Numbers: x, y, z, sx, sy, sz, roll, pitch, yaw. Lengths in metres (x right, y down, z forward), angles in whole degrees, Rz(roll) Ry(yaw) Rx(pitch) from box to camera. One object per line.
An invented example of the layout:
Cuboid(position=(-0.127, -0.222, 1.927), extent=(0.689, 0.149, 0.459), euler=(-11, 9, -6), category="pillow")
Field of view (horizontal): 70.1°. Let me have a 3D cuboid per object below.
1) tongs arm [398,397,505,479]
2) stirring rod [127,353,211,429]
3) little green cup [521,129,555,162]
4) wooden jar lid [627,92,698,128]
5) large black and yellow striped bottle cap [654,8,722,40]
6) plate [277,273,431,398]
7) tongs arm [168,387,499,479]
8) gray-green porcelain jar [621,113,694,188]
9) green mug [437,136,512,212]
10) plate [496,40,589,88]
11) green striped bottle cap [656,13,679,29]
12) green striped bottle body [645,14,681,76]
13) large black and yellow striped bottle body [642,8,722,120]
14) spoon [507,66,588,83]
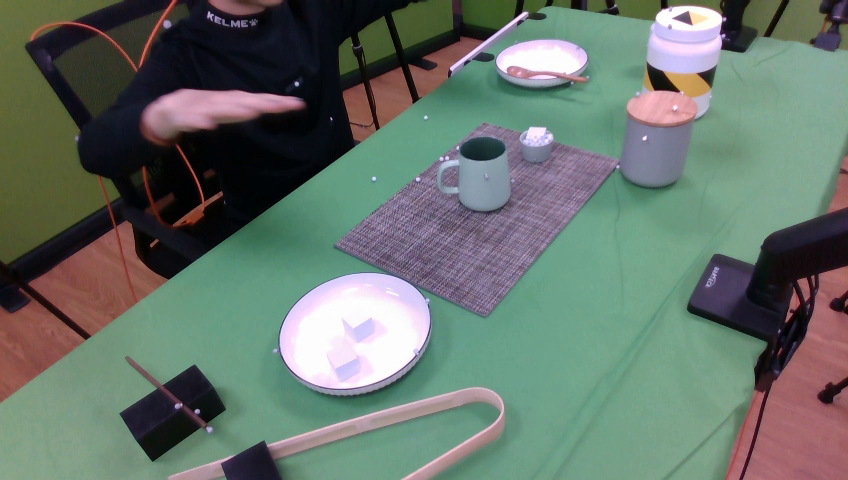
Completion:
Cuboid(position=(-0.072, 0.272, 0.652), extent=(0.386, 0.026, 0.050), euler=(-21, 37, -17), category="tongs arm")
Cuboid(position=(-0.311, 0.180, 0.731), extent=(0.175, 0.014, 0.006), euler=(25, 53, 31), category="stirring rod")
Cuboid(position=(0.211, -0.174, 1.124), extent=(0.061, 0.039, 0.061), euler=(-4, 42, 4), category="little green cup")
Cuboid(position=(0.384, -0.207, 0.980), extent=(0.108, 0.021, 0.108), euler=(-6, 39, 5), category="wooden jar lid")
Cuboid(position=(0.483, -0.397, 1.108), extent=(0.115, 0.019, 0.114), euler=(-3, 41, 3), category="large black and yellow striped bottle cap")
Cuboid(position=(-0.091, 0.129, 0.821), extent=(0.207, 0.039, 0.206), euler=(-4, 40, 4), category="plate")
Cuboid(position=(-0.100, 0.231, 0.711), extent=(0.388, 0.028, 0.028), euler=(-13, 32, -7), category="tongs arm")
Cuboid(position=(0.390, -0.161, 1.020), extent=(0.106, 0.127, 0.105), euler=(-4, 41, 4), category="gray-green porcelain jar")
Cuboid(position=(0.084, -0.107, 1.013), extent=(0.125, 0.105, 0.092), euler=(-9, 40, -3), category="green mug")
Cuboid(position=(0.268, -0.397, 1.381), extent=(0.209, 0.038, 0.208), euler=(-4, 41, 4), category="plate")
Cuboid(position=(0.515, -0.463, 1.278), extent=(0.044, 0.020, 0.044), euler=(-6, 42, 6), category="green striped bottle cap")
Cuboid(position=(0.520, -0.424, 1.312), extent=(0.063, 0.120, 0.063), euler=(-4, 40, 4), category="green striped bottle body")
Cuboid(position=(0.493, -0.334, 1.161), extent=(0.131, 0.185, 0.130), euler=(-4, 41, 4), category="large black and yellow striped bottle body")
Cuboid(position=(0.265, -0.357, 1.311), extent=(0.192, 0.022, 0.042), euler=(18, 48, 38), category="spoon")
